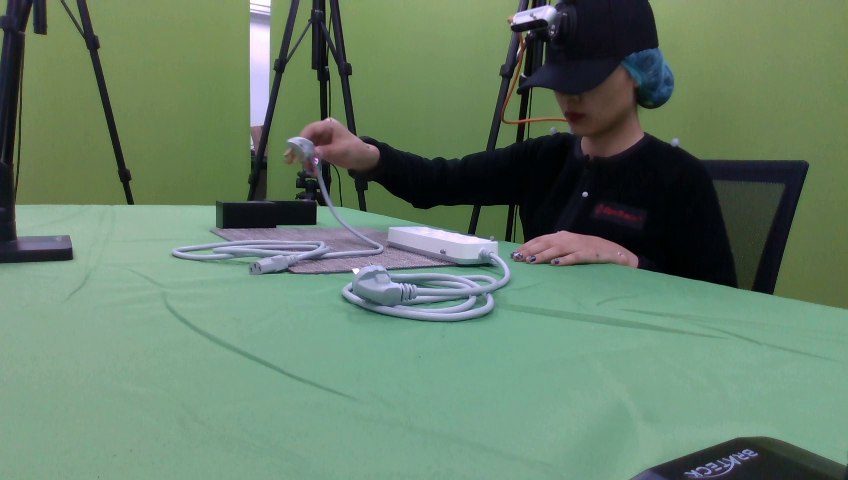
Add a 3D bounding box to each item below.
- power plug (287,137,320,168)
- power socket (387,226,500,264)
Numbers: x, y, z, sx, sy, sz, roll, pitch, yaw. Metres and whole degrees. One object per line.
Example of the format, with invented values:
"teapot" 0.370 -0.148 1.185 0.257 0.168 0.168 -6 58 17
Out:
"power plug" -0.180 -0.123 0.917 0.035 0.073 0.053 7 51 38
"power socket" 0.023 0.004 0.912 0.072 0.032 0.225 -3 10 -34
